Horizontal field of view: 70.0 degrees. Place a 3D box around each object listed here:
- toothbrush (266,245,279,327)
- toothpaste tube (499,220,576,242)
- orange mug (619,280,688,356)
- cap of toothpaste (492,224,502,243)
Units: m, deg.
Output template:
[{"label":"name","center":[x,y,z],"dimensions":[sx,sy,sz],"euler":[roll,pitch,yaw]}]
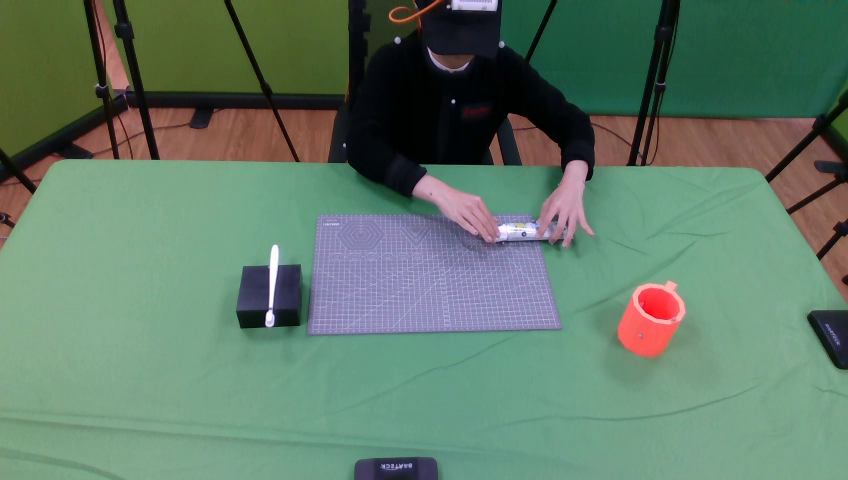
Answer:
[{"label":"toothbrush","center":[-0.261,0.073,1.042],"dimensions":[0.014,0.017,0.180],"euler":[-6,46,-3]},{"label":"toothpaste tube","center":[0.222,-0.017,1.218],"dimensions":[0.165,0.035,0.054],"euler":[-4,48,-13]},{"label":"orange mug","center":[0.401,0.125,1.045],"dimensions":[0.083,0.101,0.126],"euler":[30,56,24]},{"label":"cap of toothpaste","center":[0.145,-0.014,1.202],"dimensions":[0.011,0.037,0.037],"euler":[-5,47,-13]}]
